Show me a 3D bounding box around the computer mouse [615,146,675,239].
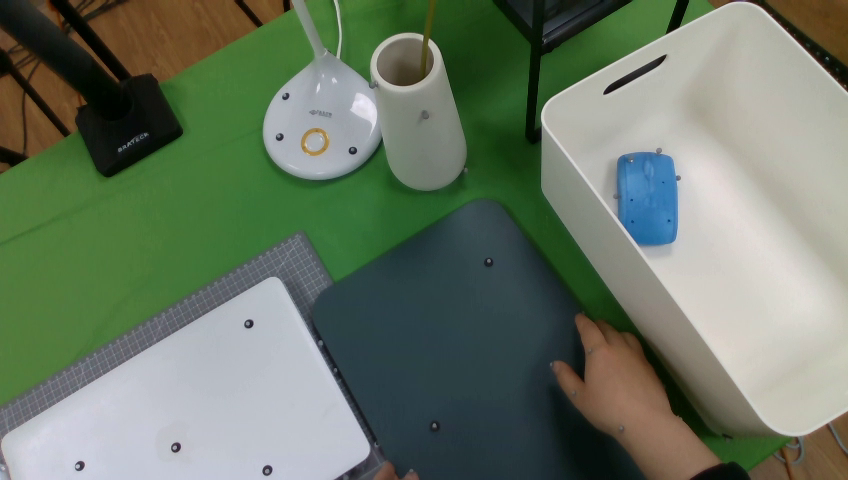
[{"bbox_3d":[0.250,-0.057,0.687,0.062,0.041,0.116,4,66,11],"label":"computer mouse"}]

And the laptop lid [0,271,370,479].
[{"bbox_3d":[-0.260,0.213,0.647,0.357,0.013,0.240,-30,71,-5],"label":"laptop lid"}]

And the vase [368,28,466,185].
[{"bbox_3d":[-0.008,-0.140,0.667,0.098,0.201,0.097,-3,68,8],"label":"vase"}]

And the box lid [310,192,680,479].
[{"bbox_3d":[0.063,0.139,0.654,0.263,0.015,0.368,-32,70,-7],"label":"box lid"}]

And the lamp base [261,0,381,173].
[{"bbox_3d":[-0.140,-0.197,0.714,0.160,0.181,0.178,0,67,7],"label":"lamp base"}]

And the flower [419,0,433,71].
[{"bbox_3d":[0.000,-0.180,0.593,0.038,0.364,0.043,-17,58,-18],"label":"flower"}]

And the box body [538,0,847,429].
[{"bbox_3d":[0.307,-0.023,0.607,0.254,0.161,0.361,-29,69,-4],"label":"box body"}]

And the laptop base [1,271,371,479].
[{"bbox_3d":[-0.260,0.215,0.658,0.354,0.023,0.234,-31,73,-6],"label":"laptop base"}]

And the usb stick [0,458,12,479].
[{"bbox_3d":[-0.464,0.252,0.654,0.059,0.027,0.021,-27,67,-10],"label":"usb stick"}]
